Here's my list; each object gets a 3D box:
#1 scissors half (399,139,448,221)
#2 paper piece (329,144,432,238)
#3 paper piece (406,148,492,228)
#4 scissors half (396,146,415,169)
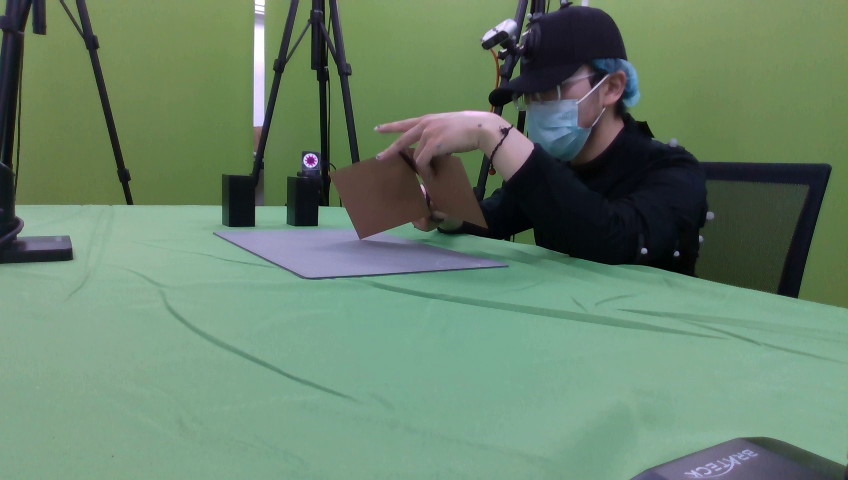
[{"bbox_3d":[-0.001,-0.099,1.016,0.012,0.176,0.040,1,42,41],"label":"scissors half"},{"bbox_3d":[-0.071,-0.079,1.014,0.135,0.135,0.004,-18,23,9],"label":"paper piece"},{"bbox_3d":[0.039,-0.083,0.954,0.137,0.136,0.008,15,52,46],"label":"paper piece"},{"bbox_3d":[0.008,-0.117,1.026,0.013,0.040,0.176,-4,-22,39],"label":"scissors half"}]
